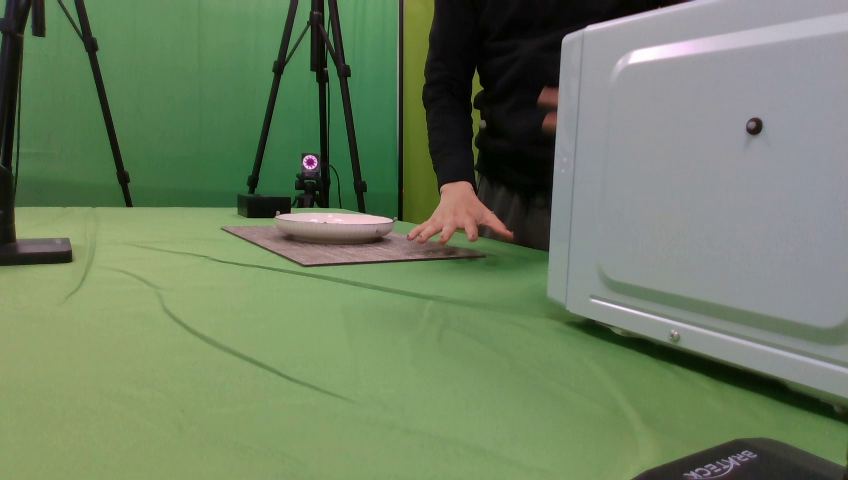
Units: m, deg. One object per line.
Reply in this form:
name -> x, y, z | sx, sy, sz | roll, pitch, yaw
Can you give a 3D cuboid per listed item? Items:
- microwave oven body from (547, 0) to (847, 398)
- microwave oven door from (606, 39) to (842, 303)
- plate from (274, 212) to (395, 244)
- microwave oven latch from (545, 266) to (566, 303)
microwave oven body -> 0.378, -0.045, 0.509 | 0.444, 0.260, 0.324 | -2, 8, -31
microwave oven door -> 0.341, -0.070, 0.653 | 0.358, 0.243, 0.039 | -3, 9, -31
plate -> -0.157, -0.022, 1.066 | 0.209, 0.038, 0.209 | 2, 8, 0
microwave oven latch -> 0.148, 0.039, 0.555 | 0.079, 0.029, 0.030 | -2, 7, -28
